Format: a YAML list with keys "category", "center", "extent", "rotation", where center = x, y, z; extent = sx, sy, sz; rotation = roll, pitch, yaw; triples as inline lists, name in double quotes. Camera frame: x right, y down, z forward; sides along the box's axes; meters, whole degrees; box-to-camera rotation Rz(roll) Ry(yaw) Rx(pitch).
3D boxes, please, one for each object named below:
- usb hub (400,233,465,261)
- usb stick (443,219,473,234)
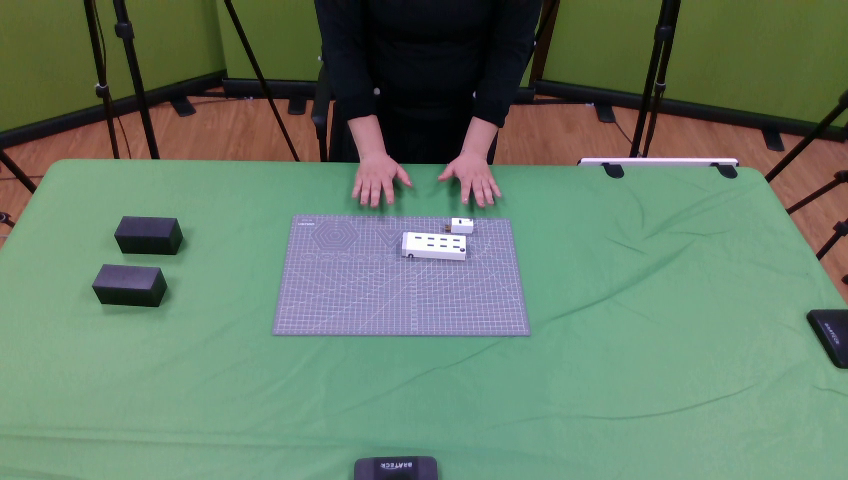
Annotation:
- category: "usb hub"
  center: [0.018, 0.013, 1.180]
  extent: [0.125, 0.025, 0.049]
  rotation: [4, 46, 0]
- category: "usb stick"
  center: [0.068, -0.028, 1.222]
  extent: [0.059, 0.027, 0.021]
  rotation: [0, 46, 0]
